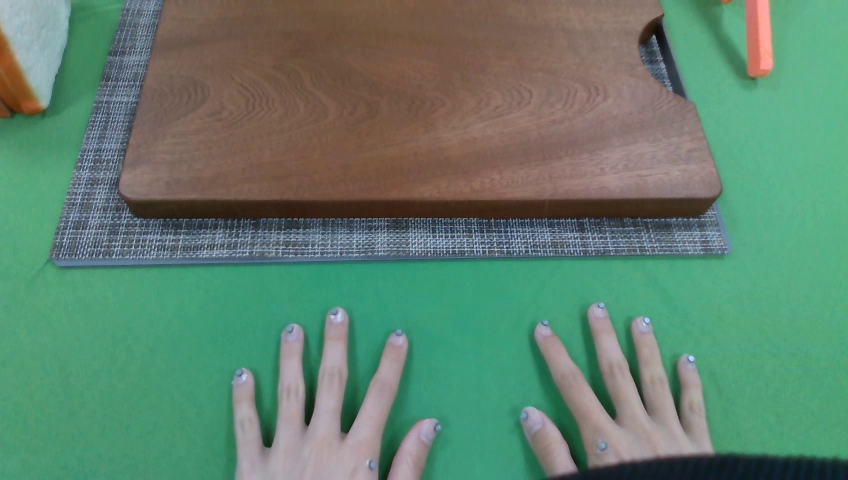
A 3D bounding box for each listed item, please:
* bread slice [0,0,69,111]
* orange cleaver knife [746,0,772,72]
[{"bbox_3d":[-0.284,-0.174,0.427,0.019,0.105,0.130,-3,55,-8],"label":"bread slice"},{"bbox_3d":[0.275,-0.243,0.517,0.012,0.077,0.211,1,89,-4],"label":"orange cleaver knife"}]
